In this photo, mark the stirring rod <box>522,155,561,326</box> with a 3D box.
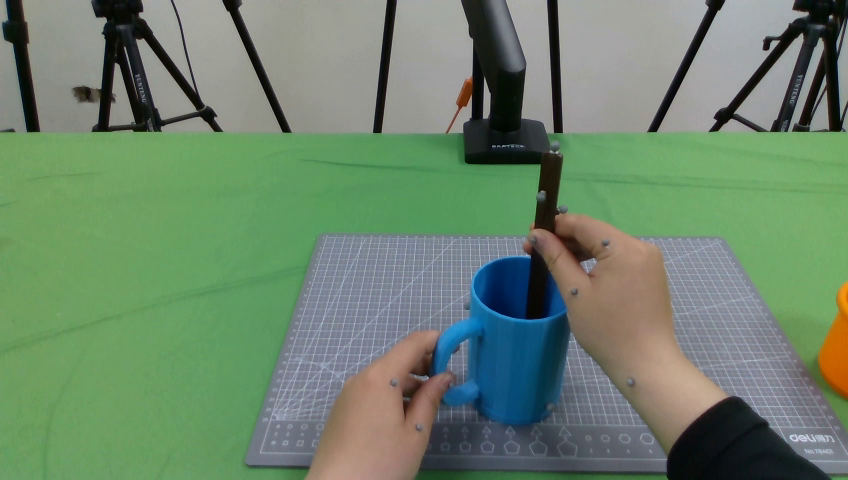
[{"bbox_3d":[0.082,0.013,0.435,0.014,0.178,0.006,15,46,19],"label":"stirring rod"}]

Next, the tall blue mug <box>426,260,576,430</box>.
[{"bbox_3d":[0.061,0.088,0.454,0.077,0.109,0.107,21,40,27],"label":"tall blue mug"}]
